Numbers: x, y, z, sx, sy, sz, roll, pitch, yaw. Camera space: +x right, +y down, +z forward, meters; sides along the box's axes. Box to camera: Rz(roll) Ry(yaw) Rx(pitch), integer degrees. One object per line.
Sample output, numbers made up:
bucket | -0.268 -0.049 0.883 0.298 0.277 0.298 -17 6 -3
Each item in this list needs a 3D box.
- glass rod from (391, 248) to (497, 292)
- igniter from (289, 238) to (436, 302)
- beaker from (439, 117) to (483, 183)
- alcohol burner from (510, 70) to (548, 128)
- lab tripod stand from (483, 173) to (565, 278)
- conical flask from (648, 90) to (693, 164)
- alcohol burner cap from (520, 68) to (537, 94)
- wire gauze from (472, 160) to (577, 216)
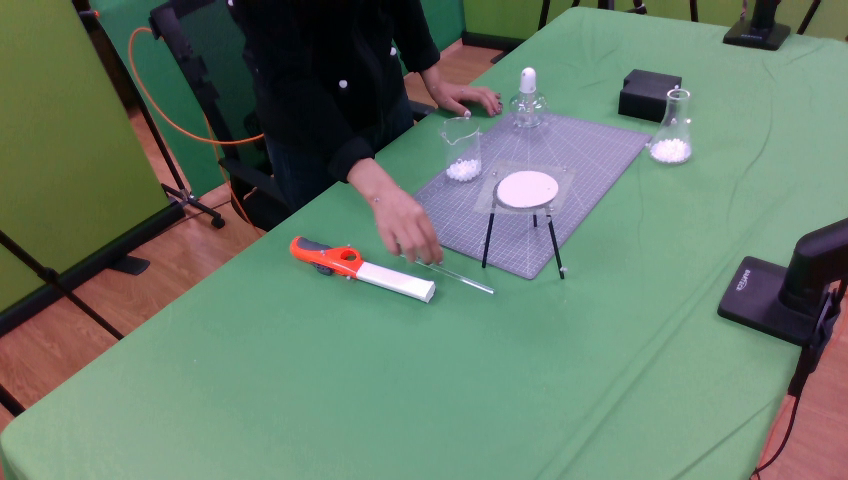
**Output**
glass rod | 0.027 0.044 0.937 0.198 0.008 0.008 21 49 31
igniter | -0.106 0.043 0.949 0.274 0.025 0.057 16 56 27
beaker | 0.068 -0.160 1.097 0.073 0.101 0.084 7 43 19
alcohol burner | 0.209 -0.287 1.208 0.078 0.119 0.077 -5 42 5
lab tripod stand | 0.151 -0.025 0.896 0.148 0.132 0.147 -7 40 6
conical flask | 0.437 -0.199 1.057 0.075 0.122 0.075 -5 40 5
alcohol burner cap | 0.205 -0.313 1.183 0.034 0.048 0.033 -3 50 4
wire gauze | 0.143 -0.073 0.850 0.121 0.011 0.125 8 43 22
